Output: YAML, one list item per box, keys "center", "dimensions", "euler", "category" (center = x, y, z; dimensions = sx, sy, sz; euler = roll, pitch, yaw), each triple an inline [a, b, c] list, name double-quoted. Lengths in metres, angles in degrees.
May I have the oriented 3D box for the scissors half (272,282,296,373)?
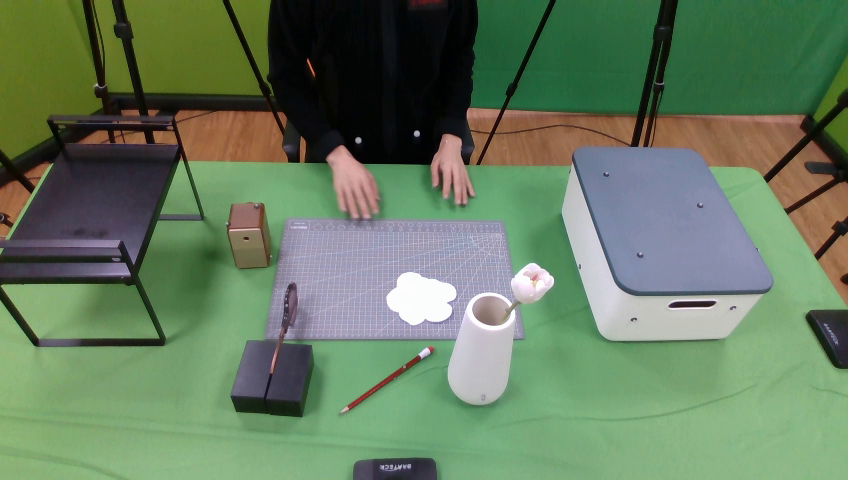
- center: [-0.229, 0.139, 0.986]
  dimensions: [0.013, 0.040, 0.174]
  euler: [4, 51, -2]
  category: "scissors half"

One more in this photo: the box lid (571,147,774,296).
- center: [0.424, -0.047, 1.074]
  dimensions: [0.263, 0.015, 0.369]
  euler: [-1, 47, -5]
  category: "box lid"

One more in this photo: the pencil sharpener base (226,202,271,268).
- center: [-0.323, -0.010, 1.123]
  dimensions: [0.061, 0.107, 0.076]
  euler: [-3, 46, -6]
  category: "pencil sharpener base"

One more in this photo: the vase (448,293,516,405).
- center: [0.091, 0.169, 0.921]
  dimensions: [0.098, 0.201, 0.097]
  euler: [3, 47, -3]
  category: "vase"

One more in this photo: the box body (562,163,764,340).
- center: [0.420, 0.003, 1.129]
  dimensions: [0.254, 0.161, 0.361]
  euler: [-1, 46, -5]
  category: "box body"

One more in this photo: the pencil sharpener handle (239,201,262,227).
- center: [-0.325, -0.056, 1.149]
  dimensions: [0.036, 0.068, 0.030]
  euler: [-13, 46, 4]
  category: "pencil sharpener handle"

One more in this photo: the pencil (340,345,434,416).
- center: [-0.058, 0.228, 0.984]
  dimensions: [0.194, 0.012, 0.012]
  euler: [-32, 56, -28]
  category: "pencil"

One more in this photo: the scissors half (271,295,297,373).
- center: [-0.230, 0.154, 1.000]
  dimensions: [0.013, 0.040, 0.174]
  euler: [0, 34, 2]
  category: "scissors half"

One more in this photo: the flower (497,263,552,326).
- center: [0.103, 0.121, 0.853]
  dimensions: [0.044, 0.363, 0.038]
  euler: [-2, 64, -10]
  category: "flower"
